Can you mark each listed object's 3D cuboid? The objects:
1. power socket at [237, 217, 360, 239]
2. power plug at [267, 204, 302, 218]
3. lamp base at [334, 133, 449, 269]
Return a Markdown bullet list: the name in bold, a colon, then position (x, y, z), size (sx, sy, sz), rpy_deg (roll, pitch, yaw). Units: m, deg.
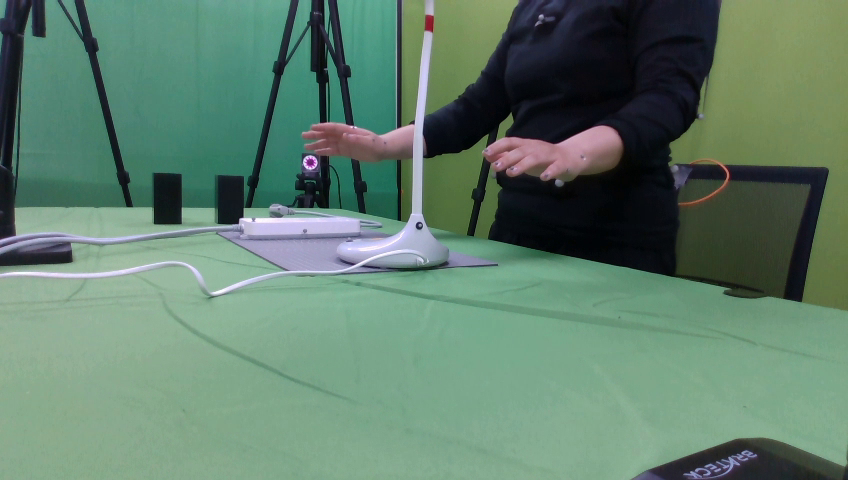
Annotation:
- **power socket**: position (-0.220, -0.023, 1.080), size (0.228, 0.032, 0.072), rpy_deg (-2, 8, -32)
- **power plug**: position (-0.327, -0.060, 1.404), size (0.073, 0.035, 0.052), rpy_deg (22, -14, -26)
- **lamp base**: position (-0.034, -0.057, 0.831), size (0.161, 0.180, 0.178), rpy_deg (-3, 12, -36)
